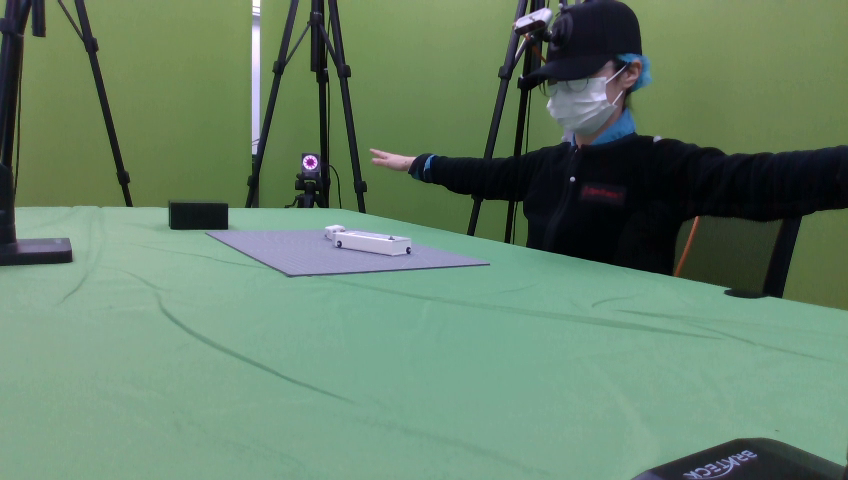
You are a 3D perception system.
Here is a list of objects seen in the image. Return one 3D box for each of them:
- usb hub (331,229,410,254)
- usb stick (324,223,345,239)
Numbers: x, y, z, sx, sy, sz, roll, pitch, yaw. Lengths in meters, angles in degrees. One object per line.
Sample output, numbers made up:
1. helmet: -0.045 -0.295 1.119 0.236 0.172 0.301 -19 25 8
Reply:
1. usb hub: -0.085 0.001 0.945 0.124 0.025 0.050 7 9 35
2. usb stick: -0.153 -0.015 1.051 0.027 0.021 0.059 -13 12 -25
